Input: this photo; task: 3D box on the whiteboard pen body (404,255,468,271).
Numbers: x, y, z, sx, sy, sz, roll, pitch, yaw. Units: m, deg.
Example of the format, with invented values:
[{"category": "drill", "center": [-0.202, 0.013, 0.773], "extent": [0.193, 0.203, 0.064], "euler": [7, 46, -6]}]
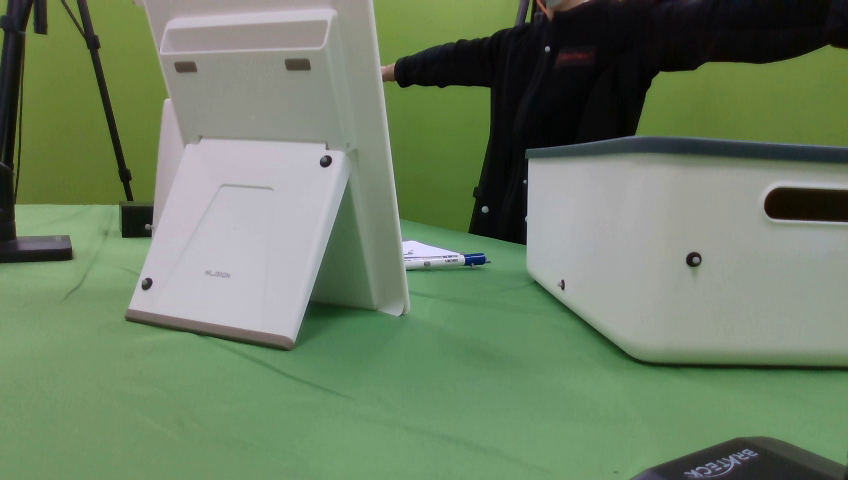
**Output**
[{"category": "whiteboard pen body", "center": [0.013, 0.030, 0.792], "extent": [0.141, 0.017, 0.017], "euler": [-3, 9, -24]}]

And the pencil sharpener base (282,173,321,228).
[{"category": "pencil sharpener base", "center": [-0.247, -0.080, 1.212], "extent": [0.061, 0.107, 0.076], "euler": [-2, 5, -28]}]

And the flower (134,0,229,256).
[{"category": "flower", "center": [-0.282, -0.147, 0.713], "extent": [0.038, 0.362, 0.044], "euler": [-23, 24, -31]}]

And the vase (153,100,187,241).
[{"category": "vase", "center": [-0.278, -0.066, 0.736], "extent": [0.098, 0.200, 0.098], "euler": [2, 9, 0]}]

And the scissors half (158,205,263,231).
[{"category": "scissors half", "center": [-0.371, -0.042, 1.061], "extent": [0.176, 0.040, 0.012], "euler": [8, 4, -28]}]

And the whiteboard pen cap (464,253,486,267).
[{"category": "whiteboard pen cap", "center": [0.066, 0.027, 0.818], "extent": [0.033, 0.018, 0.018], "euler": [-5, 10, -24]}]

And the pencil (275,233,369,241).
[{"category": "pencil", "center": [-0.169, -0.006, 1.036], "extent": [0.195, 0.012, 0.012], "euler": [-2, 9, -45]}]

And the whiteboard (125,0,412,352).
[{"category": "whiteboard", "center": [-0.151, -0.049, 0.471], "extent": [0.216, 0.305, 0.144], "euler": [6, 27, 24]}]

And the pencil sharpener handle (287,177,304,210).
[{"category": "pencil sharpener handle", "center": [-0.269, -0.096, 1.257], "extent": [0.036, 0.067, 0.030], "euler": [-8, 8, -27]}]

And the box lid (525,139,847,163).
[{"category": "box lid", "center": [0.261, -0.078, 0.580], "extent": [0.264, 0.015, 0.371], "euler": [2, 7, -4]}]

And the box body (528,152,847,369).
[{"category": "box body", "center": [0.258, -0.005, 0.591], "extent": [0.254, 0.160, 0.363], "euler": [2, 7, -4]}]

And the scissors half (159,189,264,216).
[{"category": "scissors half", "center": [-0.370, -0.062, 1.059], "extent": [0.176, 0.040, 0.013], "euler": [-11, 8, -26]}]

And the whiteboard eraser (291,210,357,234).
[{"category": "whiteboard eraser", "center": [-0.184, -0.034, 1.115], "extent": [0.113, 0.042, 0.055], "euler": [-3, 10, -40]}]
